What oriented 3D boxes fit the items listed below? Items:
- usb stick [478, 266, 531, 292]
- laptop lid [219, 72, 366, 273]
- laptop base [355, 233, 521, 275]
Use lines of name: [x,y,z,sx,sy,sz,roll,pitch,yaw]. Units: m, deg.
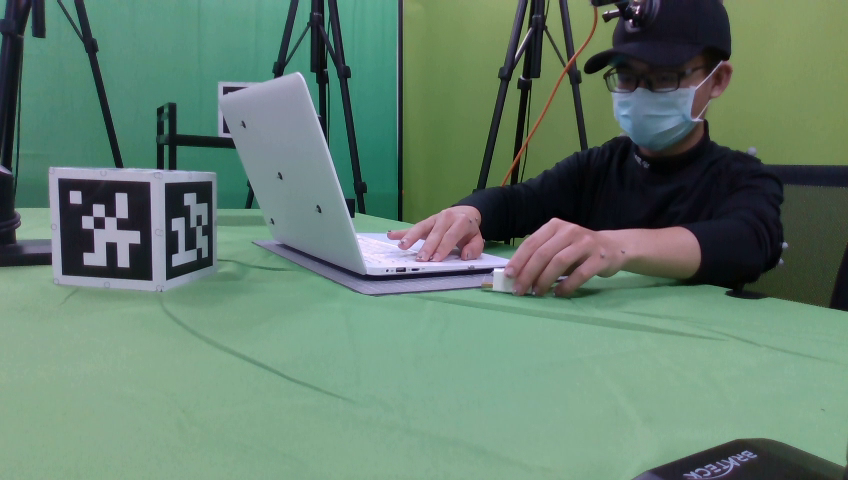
usb stick: [0.091,0.044,0.686,0.059,0.027,0.021,0,6,5]
laptop lid: [-0.189,-0.087,0.800,0.013,0.242,0.355,-26,21,-26]
laptop base: [-0.056,0.017,0.898,0.237,0.023,0.352,2,6,-32]
